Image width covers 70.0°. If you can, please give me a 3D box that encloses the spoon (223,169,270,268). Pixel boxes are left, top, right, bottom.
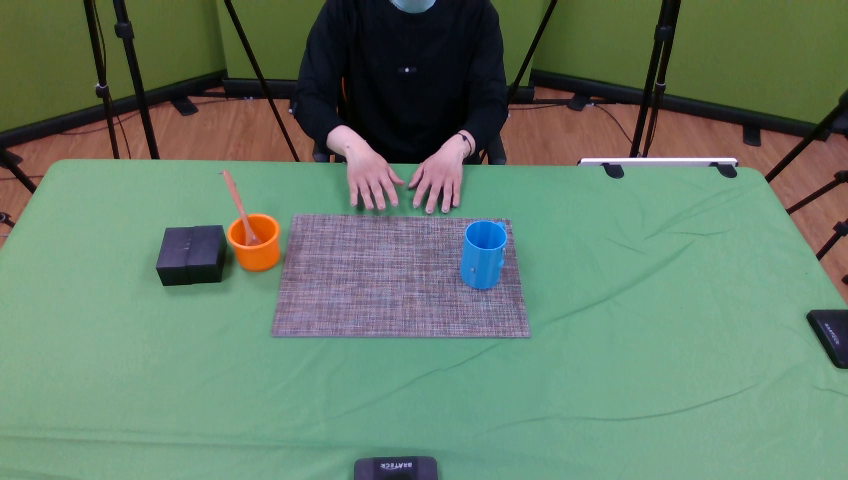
[{"bbox_3d":[-0.333,-0.040,1.124,0.041,0.194,0.021,-20,7,-17],"label":"spoon"}]

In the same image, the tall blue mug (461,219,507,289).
[{"bbox_3d":[0.111,0.016,1.121,0.078,0.108,0.106,6,46,4],"label":"tall blue mug"}]
